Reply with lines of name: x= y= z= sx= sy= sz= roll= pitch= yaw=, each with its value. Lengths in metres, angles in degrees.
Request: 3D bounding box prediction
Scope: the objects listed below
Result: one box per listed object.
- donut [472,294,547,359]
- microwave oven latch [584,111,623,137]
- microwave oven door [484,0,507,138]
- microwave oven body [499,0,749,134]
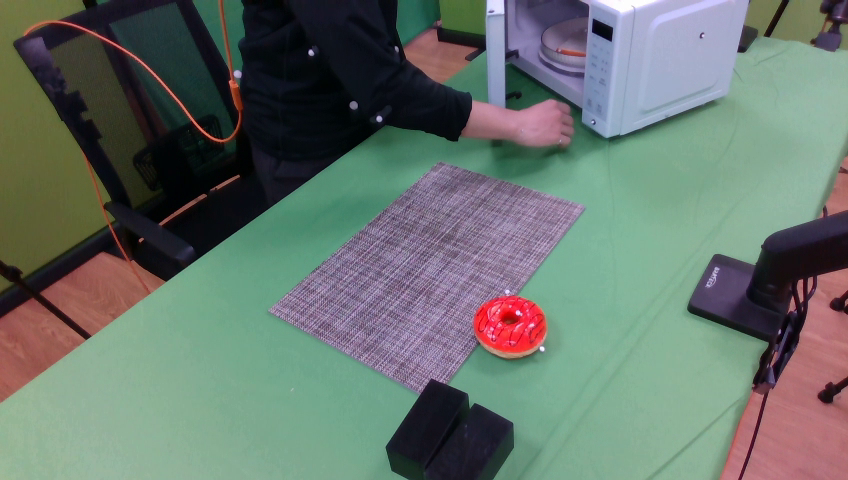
donut: x=0.114 y=0.114 z=0.803 sx=0.099 sy=0.048 sz=0.098 roll=0 pitch=40 yaw=1
microwave oven latch: x=0.337 y=-0.222 z=1.142 sx=0.030 sy=0.029 sz=0.078 roll=-21 pitch=42 yaw=-14
microwave oven door: x=0.144 y=-0.403 z=1.223 sx=0.039 sy=0.245 sz=0.354 roll=-2 pitch=41 yaw=7
microwave oven body: x=0.382 y=-0.444 z=1.246 sx=0.327 sy=0.261 sz=0.437 roll=-22 pitch=42 yaw=-16
